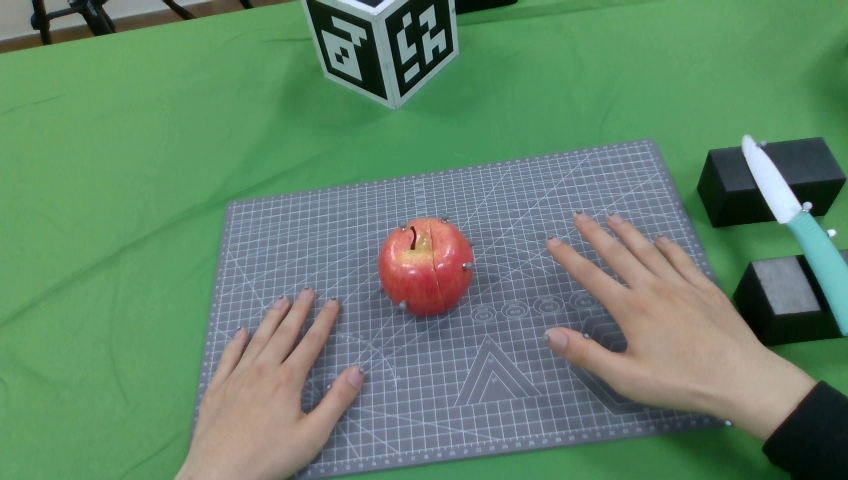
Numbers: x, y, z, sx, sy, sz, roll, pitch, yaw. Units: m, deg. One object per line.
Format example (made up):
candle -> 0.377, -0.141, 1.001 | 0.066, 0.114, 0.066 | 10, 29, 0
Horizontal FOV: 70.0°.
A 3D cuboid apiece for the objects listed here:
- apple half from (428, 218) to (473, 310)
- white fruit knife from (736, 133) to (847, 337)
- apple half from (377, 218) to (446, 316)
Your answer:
apple half -> 0.026, 0.020, 0.517 | 0.033, 0.082, 0.080 | -12, 52, 6
white fruit knife -> 0.294, -0.016, 0.482 | 0.027, 0.016, 0.205 | -13, 51, 9
apple half -> -0.012, 0.027, 0.519 | 0.053, 0.075, 0.080 | -11, 57, 6
